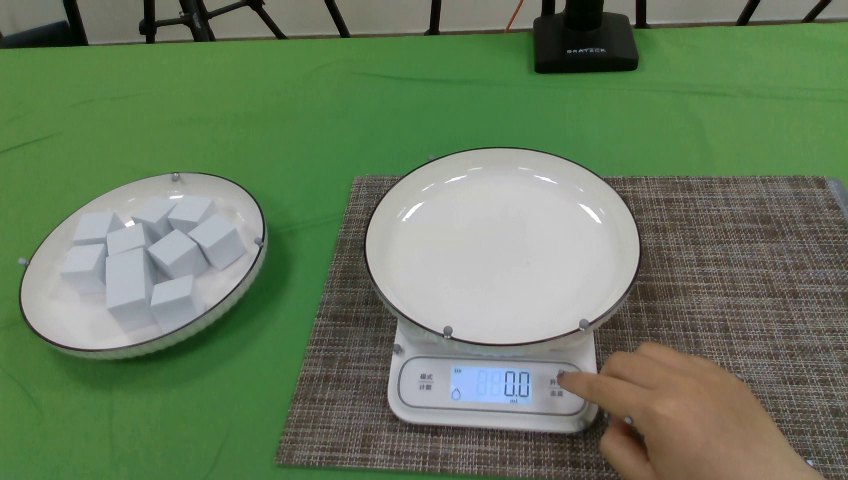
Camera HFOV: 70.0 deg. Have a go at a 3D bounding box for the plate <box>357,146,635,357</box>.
[{"bbox_3d":[0.054,0.006,0.471,0.207,0.039,0.205,-2,47,3],"label":"plate"}]

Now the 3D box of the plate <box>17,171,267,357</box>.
[{"bbox_3d":[-0.241,0.019,0.537,0.209,0.038,0.207,-3,46,3],"label":"plate"}]

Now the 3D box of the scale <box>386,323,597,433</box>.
[{"bbox_3d":[0.055,0.050,0.476,0.148,0.032,0.199,1,48,8],"label":"scale"}]
